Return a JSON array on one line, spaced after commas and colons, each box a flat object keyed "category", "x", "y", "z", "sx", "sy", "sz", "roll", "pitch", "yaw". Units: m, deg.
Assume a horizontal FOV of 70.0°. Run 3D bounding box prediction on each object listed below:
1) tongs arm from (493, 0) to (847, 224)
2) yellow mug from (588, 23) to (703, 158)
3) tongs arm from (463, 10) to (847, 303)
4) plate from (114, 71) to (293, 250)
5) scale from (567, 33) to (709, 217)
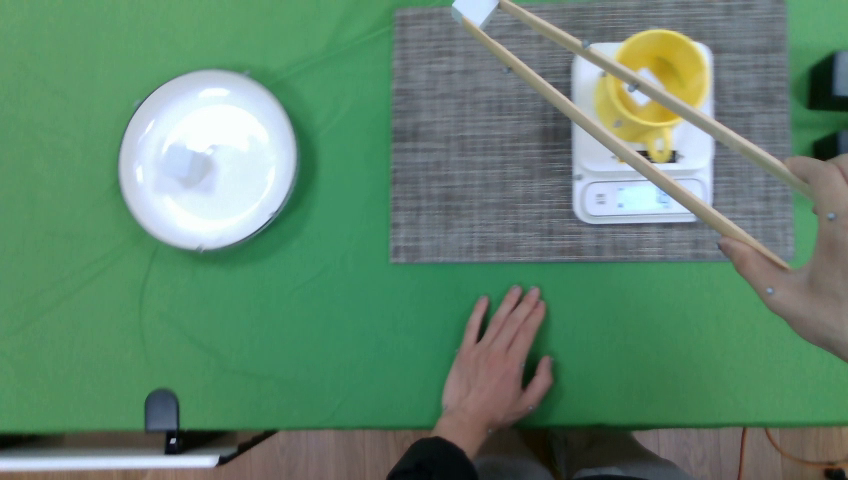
[{"category": "tongs arm", "x": 0.172, "y": -0.098, "z": 0.466, "sx": 0.051, "sy": 0.027, "sz": 0.381, "roll": -48, "pitch": 61, "yaw": 0}, {"category": "yellow mug", "x": 0.230, "y": -0.150, "z": 0.630, "sx": 0.100, "sy": 0.064, "sz": 0.130, "roll": -12, "pitch": 86, "yaw": 2}, {"category": "tongs arm", "x": 0.156, "y": -0.082, "z": 0.467, "sx": 0.028, "sy": 0.028, "sz": 0.384, "roll": -43, "pitch": 62, "yaw": 0}, {"category": "plate", "x": -0.252, "y": -0.090, "z": 0.708, "sx": 0.207, "sy": 0.039, "sz": 0.207, "roll": 0, "pitch": 86, "yaw": 3}, {"category": "scale", "x": 0.238, "y": -0.128, "z": 0.675, "sx": 0.148, "sy": 0.031, "sz": 0.200, "roll": -2, "pitch": 87, "yaw": 4}]
